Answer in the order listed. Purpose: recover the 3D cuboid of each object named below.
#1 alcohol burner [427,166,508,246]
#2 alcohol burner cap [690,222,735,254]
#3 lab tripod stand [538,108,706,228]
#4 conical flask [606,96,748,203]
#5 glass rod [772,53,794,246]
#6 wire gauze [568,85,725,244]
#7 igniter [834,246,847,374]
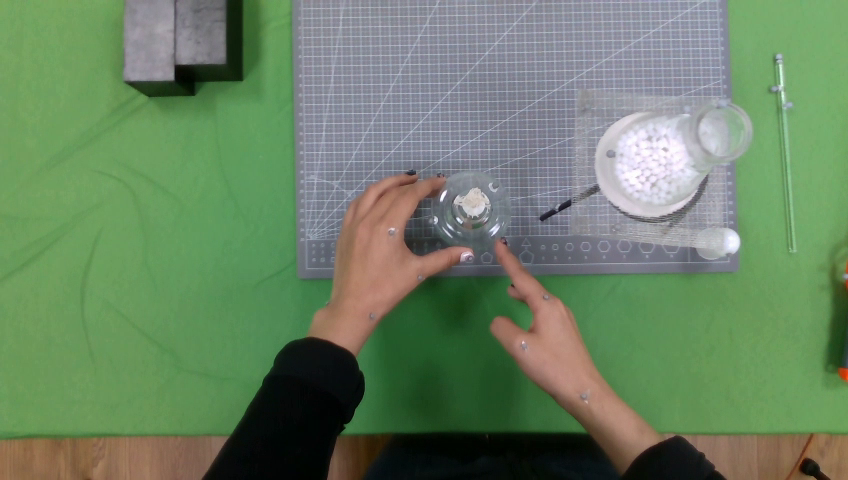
[{"bbox_3d":[0.041,-0.033,0.566,0.078,0.119,0.078,0,89,3],"label":"alcohol burner"},{"bbox_3d":[0.288,-0.003,0.598,0.034,0.048,0.034,0,87,1],"label":"alcohol burner cap"},{"bbox_3d":[0.183,-0.057,0.556,0.148,0.131,0.148,0,89,1],"label":"lab tripod stand"},{"bbox_3d":[0.182,-0.068,0.432,0.075,0.122,0.075,0,89,1],"label":"conical flask"},{"bbox_3d":[0.367,-0.093,0.620,0.008,0.008,0.199,-3,87,0],"label":"glass rod"},{"bbox_3d":[0.180,-0.062,0.490,0.125,0.011,0.121,5,91,-1],"label":"wire gauze"},{"bbox_3d":[0.450,-0.001,0.607,0.057,0.025,0.276,10,88,-10],"label":"igniter"}]
